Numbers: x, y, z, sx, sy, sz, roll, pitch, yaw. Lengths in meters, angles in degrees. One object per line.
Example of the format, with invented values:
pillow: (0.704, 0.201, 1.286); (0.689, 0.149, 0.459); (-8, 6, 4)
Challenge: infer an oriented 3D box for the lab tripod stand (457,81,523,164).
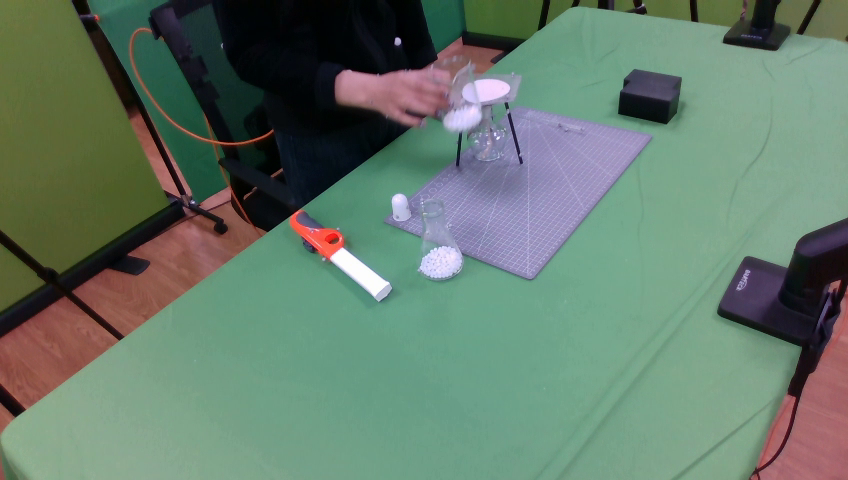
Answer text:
lab tripod stand: (0.120, -0.219, 1.130); (0.148, 0.132, 0.147); (-7, 39, 6)

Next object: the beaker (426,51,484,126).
beaker: (0.053, -0.238, 0.964); (0.074, 0.101, 0.083); (-18, 35, 4)

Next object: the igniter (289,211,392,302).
igniter: (-0.145, 0.019, 0.986); (0.057, 0.025, 0.274); (-40, 48, -18)

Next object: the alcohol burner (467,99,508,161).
alcohol burner: (0.119, -0.210, 1.134); (0.078, 0.119, 0.077); (-4, 39, 4)

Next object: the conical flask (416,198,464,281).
conical flask: (0.019, -0.004, 0.907); (0.075, 0.122, 0.075); (-5, 40, 5)

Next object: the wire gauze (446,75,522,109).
wire gauze: (0.109, -0.269, 1.086); (0.121, 0.011, 0.125); (2, 40, 15)

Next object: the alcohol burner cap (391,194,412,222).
alcohol burner cap: (-0.041, -0.057, 1.040); (0.034, 0.048, 0.033); (-6, 40, 5)

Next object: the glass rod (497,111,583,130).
glass rod: (0.233, -0.245, 1.235); (0.198, 0.008, 0.008); (20, 49, 35)
